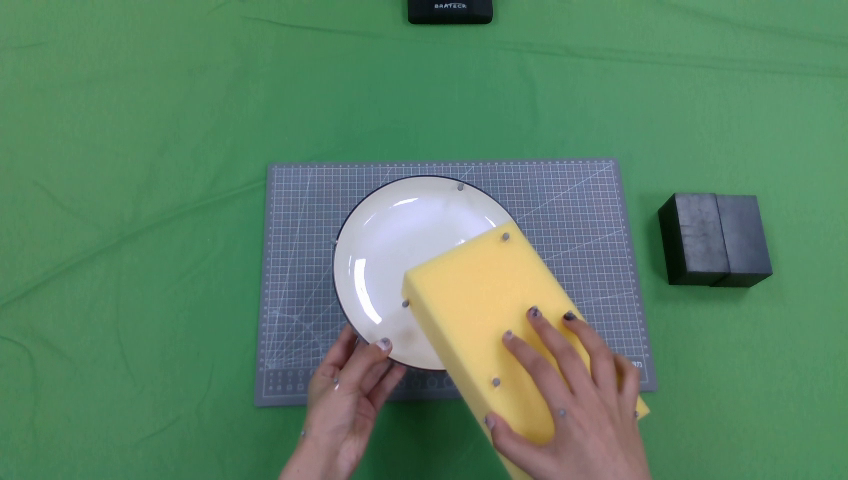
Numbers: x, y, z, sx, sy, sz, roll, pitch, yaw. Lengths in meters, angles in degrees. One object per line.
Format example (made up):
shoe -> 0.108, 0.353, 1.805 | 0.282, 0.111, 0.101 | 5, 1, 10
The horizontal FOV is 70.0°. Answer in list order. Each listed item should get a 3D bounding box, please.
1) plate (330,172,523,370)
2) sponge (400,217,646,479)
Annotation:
plate -> 0.008, 0.032, 0.622 | 0.210, 0.038, 0.207 | 4, 70, -10
sponge -> 0.081, 0.094, 0.544 | 0.118, 0.061, 0.205 | -28, 70, -18
